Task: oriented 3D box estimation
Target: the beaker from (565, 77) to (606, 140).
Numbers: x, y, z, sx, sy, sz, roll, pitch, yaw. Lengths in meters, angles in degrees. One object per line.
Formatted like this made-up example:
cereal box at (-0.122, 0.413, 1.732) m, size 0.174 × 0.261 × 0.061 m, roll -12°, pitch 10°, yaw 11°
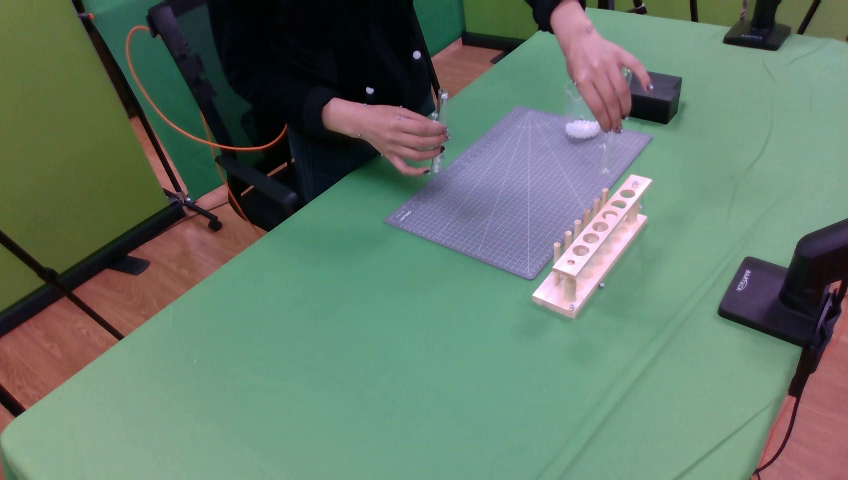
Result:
beaker at (0.304, -0.247, 1.153) m, size 0.073 × 0.101 × 0.084 m, roll 15°, pitch 47°, yaw 27°

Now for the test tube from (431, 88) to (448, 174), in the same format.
test tube at (0.024, -0.168, 0.952) m, size 0.017 × 0.151 × 0.017 m, roll 3°, pitch 40°, yaw -2°

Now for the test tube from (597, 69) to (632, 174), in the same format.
test tube at (0.273, -0.168, 0.870) m, size 0.017 × 0.150 × 0.017 m, roll 8°, pitch 19°, yaw -2°

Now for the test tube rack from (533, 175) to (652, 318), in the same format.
test tube rack at (0.251, -0.001, 0.888) m, size 0.066 × 0.085 × 0.243 m, roll 23°, pitch 49°, yaw 32°
